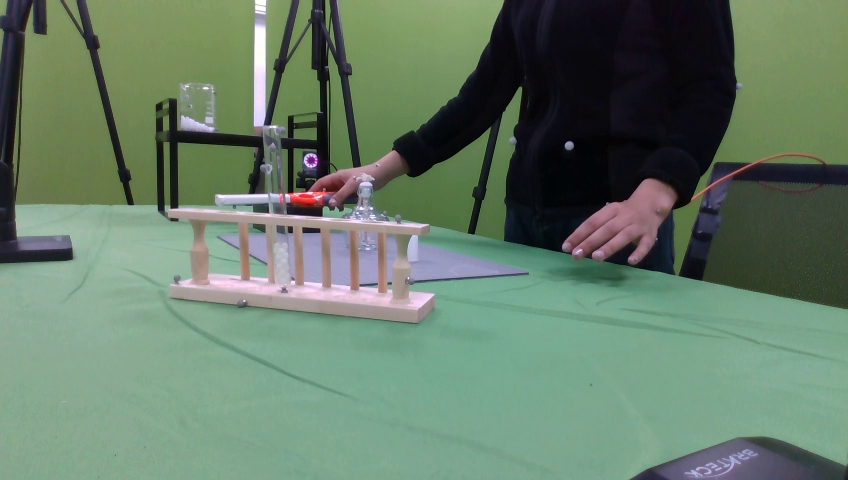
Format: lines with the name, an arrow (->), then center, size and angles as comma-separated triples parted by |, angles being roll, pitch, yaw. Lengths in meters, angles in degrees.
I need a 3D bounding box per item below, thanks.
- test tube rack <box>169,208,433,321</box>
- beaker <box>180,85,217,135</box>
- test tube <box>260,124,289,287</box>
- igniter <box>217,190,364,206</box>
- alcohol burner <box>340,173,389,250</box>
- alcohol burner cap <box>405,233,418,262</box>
test tube rack -> -0.115, 0.018, 0.574 | 0.242, 0.085, 0.067 | 4, 8, 13
beaker -> -0.478, -0.275, 1.279 | 0.074, 0.100, 0.084 | 4, 8, 15
test tube -> -0.137, -0.030, 0.554 | 0.017, 0.150, 0.017 | -2, 10, 1
igniter -> -0.248, -0.079, 1.152 | 0.278, 0.025, 0.057 | -4, 14, -28
alcohol burner -> -0.094, -0.045, 0.939 | 0.078, 0.119, 0.078 | 0, 7, 0
alcohol burner cap -> -0.024, 0.005, 0.847 | 0.034, 0.048, 0.034 | 3, 9, 0
